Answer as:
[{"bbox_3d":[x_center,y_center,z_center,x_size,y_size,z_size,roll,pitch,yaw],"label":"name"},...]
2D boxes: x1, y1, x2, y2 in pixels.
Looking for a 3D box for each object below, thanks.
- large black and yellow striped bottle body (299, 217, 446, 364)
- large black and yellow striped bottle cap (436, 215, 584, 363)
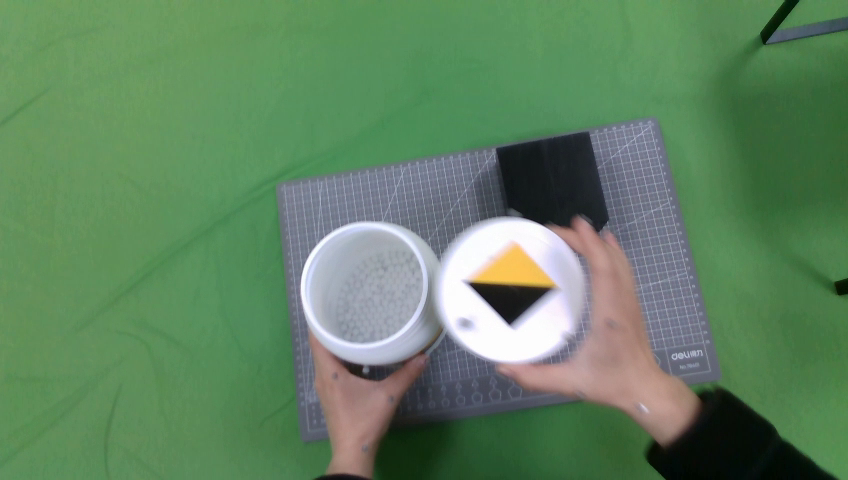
[{"bbox_3d":[-0.043,0.053,0.587,0.131,0.185,0.130,-1,78,5],"label":"large black and yellow striped bottle body"},{"bbox_3d":[0.067,0.037,0.469,0.115,0.019,0.114,1,76,-5],"label":"large black and yellow striped bottle cap"}]
